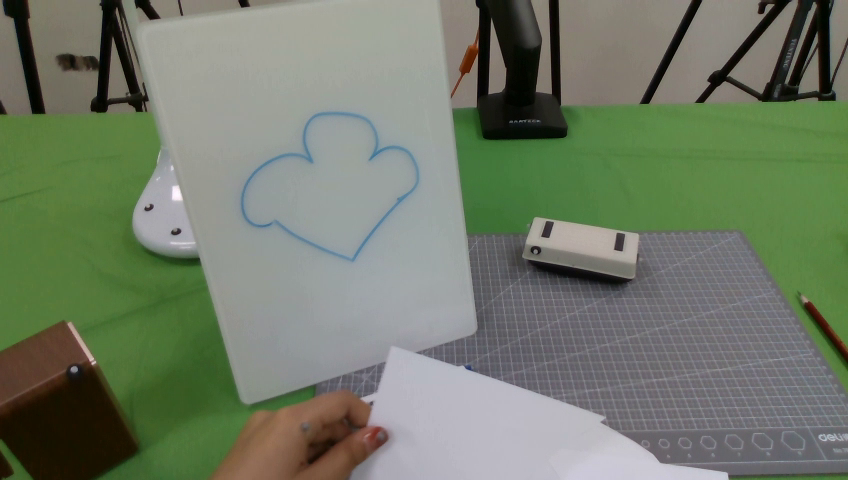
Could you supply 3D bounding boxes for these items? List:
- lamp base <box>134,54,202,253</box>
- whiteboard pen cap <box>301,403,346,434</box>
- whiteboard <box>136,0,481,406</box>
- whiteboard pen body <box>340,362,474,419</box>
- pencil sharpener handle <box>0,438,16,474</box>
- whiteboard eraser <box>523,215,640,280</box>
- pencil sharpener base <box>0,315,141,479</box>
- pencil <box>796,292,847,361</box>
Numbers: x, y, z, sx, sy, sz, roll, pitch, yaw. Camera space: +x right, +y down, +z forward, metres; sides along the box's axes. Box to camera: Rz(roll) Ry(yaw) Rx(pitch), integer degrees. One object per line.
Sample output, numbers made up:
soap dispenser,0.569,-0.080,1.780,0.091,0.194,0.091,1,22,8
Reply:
lamp base,-0.262,-0.102,0.664,0.177,0.182,0.160,27,46,33
whiteboard pen cap,-0.079,0.141,0.482,0.033,0.018,0.018,-15,41,-15
whiteboard,-0.090,-0.048,0.542,0.218,0.307,0.142,-14,21,-15
whiteboard pen body,-0.024,0.126,0.497,0.141,0.017,0.017,-14,41,-15
pencil sharpener handle,-0.304,0.136,0.407,0.030,0.068,0.035,-31,35,-31
whiteboard eraser,0.163,0.009,0.627,0.112,0.042,0.055,11,41,14
pencil sharpener base,-0.268,0.122,0.444,0.077,0.108,0.061,-30,48,-31
pencil,0.379,0.110,0.530,0.012,0.012,0.192,-3,37,-2
